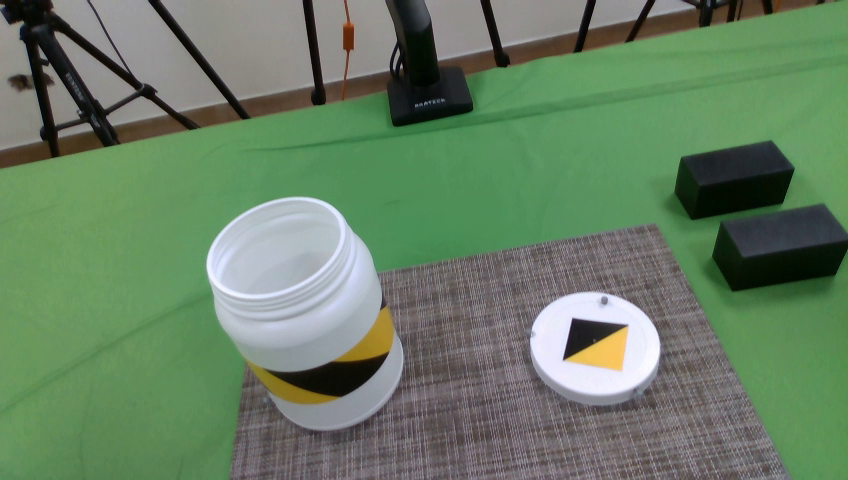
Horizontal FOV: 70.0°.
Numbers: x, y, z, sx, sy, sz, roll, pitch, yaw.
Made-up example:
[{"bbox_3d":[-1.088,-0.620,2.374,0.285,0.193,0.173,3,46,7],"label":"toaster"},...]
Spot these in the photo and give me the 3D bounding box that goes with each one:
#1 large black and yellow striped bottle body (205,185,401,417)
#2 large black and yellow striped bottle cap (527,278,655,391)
[{"bbox_3d":[-0.099,0.055,0.524,0.130,0.186,0.129,-6,47,7],"label":"large black and yellow striped bottle body"},{"bbox_3d":[0.153,0.084,0.560,0.115,0.019,0.114,-6,48,7],"label":"large black and yellow striped bottle cap"}]
